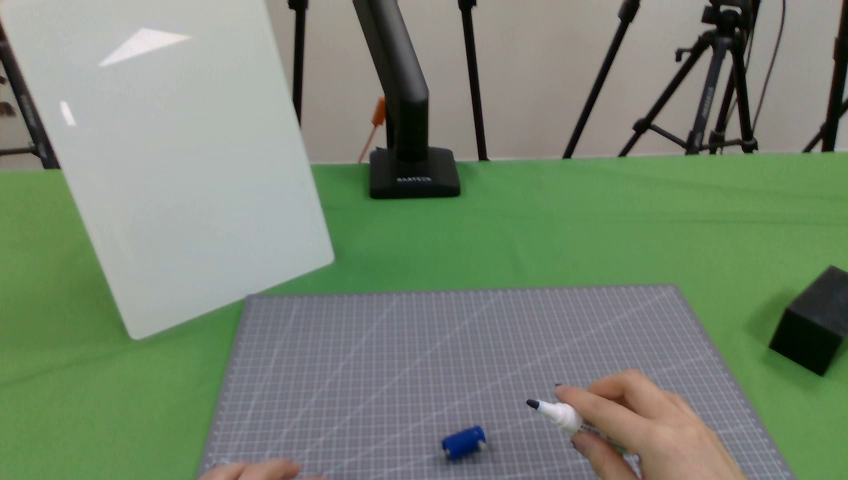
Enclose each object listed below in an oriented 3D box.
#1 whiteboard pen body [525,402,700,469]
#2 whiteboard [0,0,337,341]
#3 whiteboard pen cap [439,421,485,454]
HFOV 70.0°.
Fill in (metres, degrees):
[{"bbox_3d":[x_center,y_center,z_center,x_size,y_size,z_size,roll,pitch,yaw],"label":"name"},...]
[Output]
[{"bbox_3d":[0.123,0.125,0.390,0.141,0.017,0.017,22,30,-20],"label":"whiteboard pen body"},{"bbox_3d":[-0.248,-0.094,0.621,0.217,0.307,0.142,-23,22,-29],"label":"whiteboard"},{"bbox_3d":[0.030,0.153,0.469,0.033,0.018,0.018,-13,37,-23],"label":"whiteboard pen cap"}]
